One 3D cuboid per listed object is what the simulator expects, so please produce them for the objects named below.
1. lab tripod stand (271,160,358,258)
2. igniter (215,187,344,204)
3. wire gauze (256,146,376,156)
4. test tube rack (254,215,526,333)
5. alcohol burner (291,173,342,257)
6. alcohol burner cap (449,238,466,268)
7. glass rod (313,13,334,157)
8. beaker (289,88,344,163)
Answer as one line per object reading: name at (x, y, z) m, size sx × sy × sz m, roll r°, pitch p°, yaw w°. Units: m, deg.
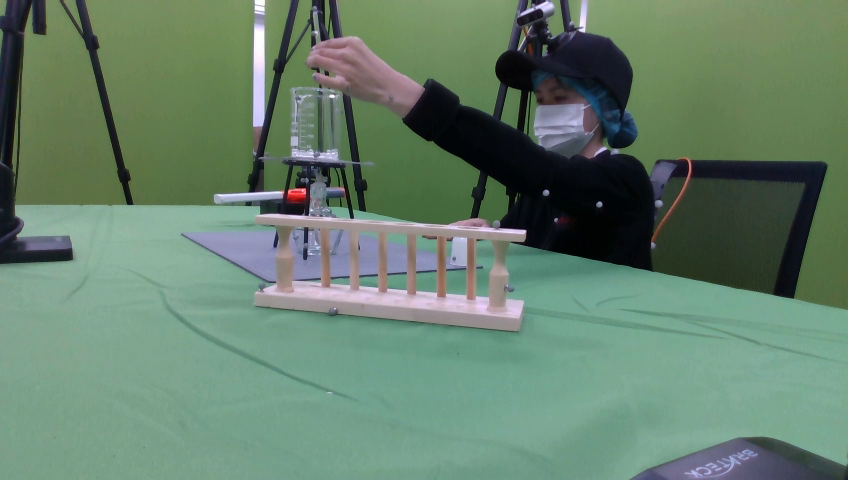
lab tripod stand at (-0.159, -0.048, 0.876) m, size 0.148 × 0.131 × 0.148 m, roll 3°, pitch 5°, yaw 0°
igniter at (-0.289, -0.093, 1.255) m, size 0.278 × 0.025 × 0.057 m, roll -6°, pitch 12°, yaw -34°
wire gauze at (-0.155, -0.128, 0.871) m, size 0.124 × 0.011 × 0.122 m, roll 2°, pitch 7°, yaw 36°
test tube rack at (-0.030, 0.025, 0.557) m, size 0.242 × 0.085 × 0.067 m, roll 4°, pitch 7°, yaw 12°
alcohol burner at (-0.155, -0.037, 0.870) m, size 0.078 × 0.119 × 0.078 m, roll 1°, pitch 6°, yaw 0°
alcohol burner cap at (0.051, 0.015, 0.827) m, size 0.034 × 0.048 × 0.034 m, roll 2°, pitch 5°, yaw 0°
glass rod at (-0.141, -0.216, 0.849) m, size 0.008 × 0.199 × 0.008 m, roll -5°, pitch 8°, yaw 1°
beaker at (-0.157, -0.160, 0.862) m, size 0.083 × 0.100 × 0.074 m, roll 7°, pitch 7°, yaw 34°
